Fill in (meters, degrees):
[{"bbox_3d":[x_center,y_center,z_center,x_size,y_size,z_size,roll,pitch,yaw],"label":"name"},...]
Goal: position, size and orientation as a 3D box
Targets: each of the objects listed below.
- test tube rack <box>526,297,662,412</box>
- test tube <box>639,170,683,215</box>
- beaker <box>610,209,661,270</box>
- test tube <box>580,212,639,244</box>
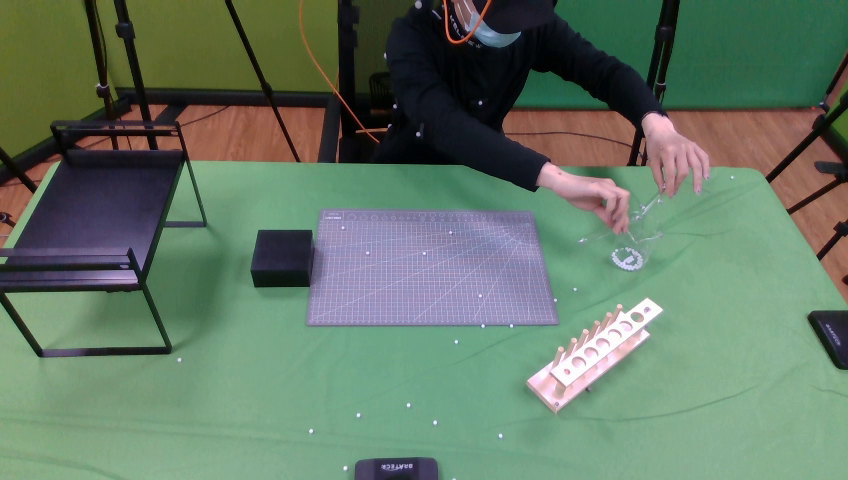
[{"bbox_3d":[0.284,0.176,1.007,0.242,0.085,0.066,-29,54,-27],"label":"test tube rack"},{"bbox_3d":[0.457,-0.093,1.164,0.017,0.017,0.150,36,58,26],"label":"test tube"},{"bbox_3d":[0.404,0.005,1.170,0.074,0.101,0.083,19,49,15],"label":"beaker"},{"bbox_3d":[0.336,-0.022,1.095,0.150,0.017,0.017,-21,51,-30],"label":"test tube"}]
